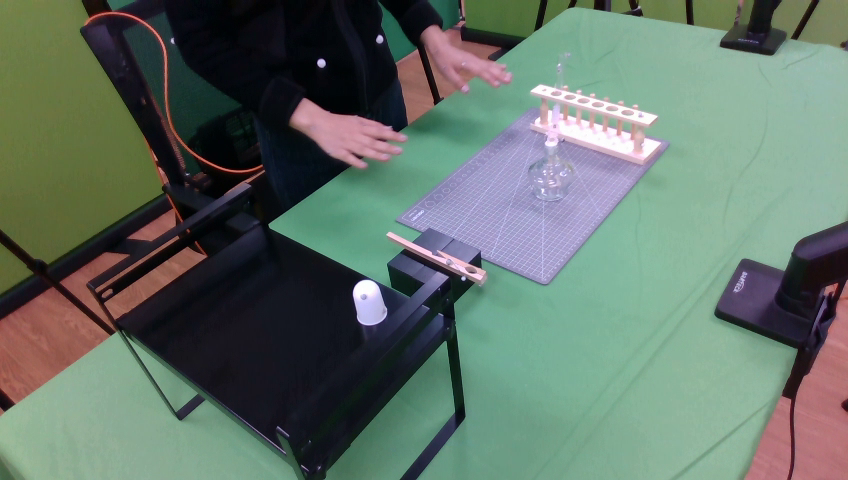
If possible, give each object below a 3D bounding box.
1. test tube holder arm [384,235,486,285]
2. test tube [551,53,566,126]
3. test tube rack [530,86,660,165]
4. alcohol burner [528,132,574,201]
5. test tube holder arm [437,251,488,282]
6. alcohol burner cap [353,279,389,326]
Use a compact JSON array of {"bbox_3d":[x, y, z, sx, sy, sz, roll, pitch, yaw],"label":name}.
[{"bbox_3d":[0.012,0.026,0.871,0.177,0.015,0.013,21,53,30],"label":"test tube holder arm"},{"bbox_3d":[0.253,-0.280,1.138,0.017,0.151,0.017,-3,44,3],"label":"test tube"},{"bbox_3d":[0.320,-0.226,1.140,0.240,0.085,0.067,27,51,34],"label":"test tube rack"},{"bbox_3d":[0.214,-0.126,1.016,0.078,0.119,0.077,-5,38,5],"label":"alcohol burner"},{"bbox_3d":[0.051,0.037,0.852,0.087,0.015,0.010,22,54,31],"label":"test tube holder arm"},{"bbox_3d":[-0.055,0.061,0.616,0.034,0.048,0.033,-5,41,4],"label":"alcohol burner cap"}]
